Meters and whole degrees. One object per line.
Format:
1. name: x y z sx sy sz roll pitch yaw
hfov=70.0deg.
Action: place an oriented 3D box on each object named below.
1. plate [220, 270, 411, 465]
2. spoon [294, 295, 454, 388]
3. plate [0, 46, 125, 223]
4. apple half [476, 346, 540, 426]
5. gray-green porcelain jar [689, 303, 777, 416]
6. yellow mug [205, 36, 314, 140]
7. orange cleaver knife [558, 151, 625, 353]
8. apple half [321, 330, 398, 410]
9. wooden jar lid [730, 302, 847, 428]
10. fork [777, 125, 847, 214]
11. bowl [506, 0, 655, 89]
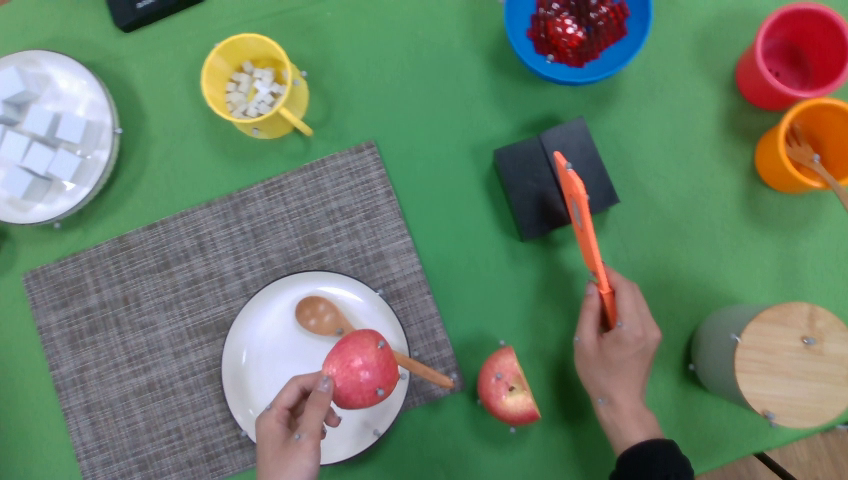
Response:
1. plate: -0.116 0.137 0.664 0.209 0.038 0.208 0 86 4
2. spoon: -0.055 0.112 0.648 0.193 0.022 0.041 26 94 16
3. plate: -0.448 -0.121 0.714 0.207 0.039 0.207 0 86 5
4. apple half: 0.082 0.156 0.634 0.053 0.075 0.080 -23 87 6
5. gray-green porcelain jar: 0.327 0.114 0.591 0.106 0.127 0.105 0 85 5
6. yellow mug: -0.174 -0.159 0.682 0.130 0.064 0.100 41 89 5
7. orange cleaver knife: 0.165 0.015 0.599 0.012 0.076 0.213 -18 113 5
8. apple half: -0.056 0.127 0.573 0.082 0.032 0.081 4 84 -34
9. wooden jar lid: 0.321 0.108 0.529 0.108 0.021 0.108 0 87 4
10. fork: 0.394 -0.050 0.587 0.028 0.019 0.205 -2 42 2
11. bowl: 0.162 -0.228 0.654 0.151 0.077 0.151 0 86 5
